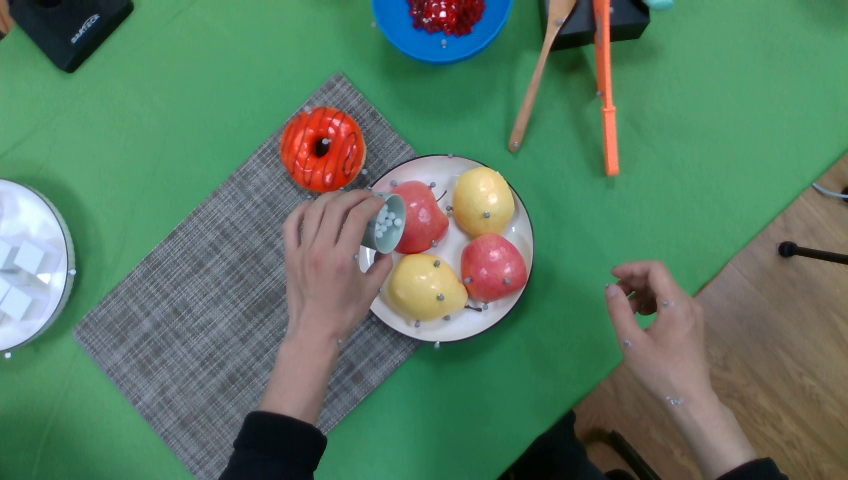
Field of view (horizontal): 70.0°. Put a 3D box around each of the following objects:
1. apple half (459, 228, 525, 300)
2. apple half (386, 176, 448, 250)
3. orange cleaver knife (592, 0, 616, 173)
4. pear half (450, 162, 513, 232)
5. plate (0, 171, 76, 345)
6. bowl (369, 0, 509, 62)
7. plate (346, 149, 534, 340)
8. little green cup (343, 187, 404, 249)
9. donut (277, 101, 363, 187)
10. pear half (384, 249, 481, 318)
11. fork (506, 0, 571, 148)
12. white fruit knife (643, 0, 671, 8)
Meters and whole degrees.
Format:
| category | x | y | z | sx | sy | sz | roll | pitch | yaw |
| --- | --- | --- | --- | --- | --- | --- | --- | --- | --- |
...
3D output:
| category | x | y | z | sx | sy | sz | roll | pitch | yaw |
| --- | --- | --- | --- | --- | --- | --- | --- | --- | --- |
| apple half | 0.066 | 0.029 | 0.654 | 0.081 | 0.033 | 0.081 | 6 | 105 | 25 |
| apple half | -0.017 | -0.029 | 0.664 | 0.074 | 0.053 | 0.081 | -26 | 90 | 5 |
| orange cleaver knife | 0.190 | -0.179 | 0.647 | 0.012 | 0.076 | 0.213 | -7 | 114 | 10 |
| pear half | 0.059 | -0.040 | 0.660 | 0.070 | 0.031 | 0.088 | -10 | 101 | 29 |
| plate | -0.512 | 0.021 | 0.728 | 0.207 | 0.039 | 0.207 | 0 | 89 | 5 |
| bowl | 0.019 | -0.262 | 0.666 | 0.151 | 0.077 | 0.151 | 0 | 89 | 5 |
| plate | 0.018 | 0.005 | 0.677 | 0.209 | 0.038 | 0.209 | 0 | 89 | 5 |
| little green cup | -0.050 | -0.023 | 0.602 | 0.038 | 0.062 | 0.061 | 12 | 89 | 26 |
| donut | -0.118 | -0.108 | 0.688 | 0.099 | 0.048 | 0.099 | 0 | 91 | 7 |
| pear half | 0.012 | 0.054 | 0.663 | 0.110 | 0.056 | 0.076 | 19 | 95 | 1 |
| fork | 0.124 | -0.197 | 0.651 | 0.028 | 0.018 | 0.208 | 15 | 111 | -2 |
| white fruit knife | 0.179 | -0.317 | 0.634 | 0.027 | 0.016 | 0.207 | -39 | 83 | -26 |
